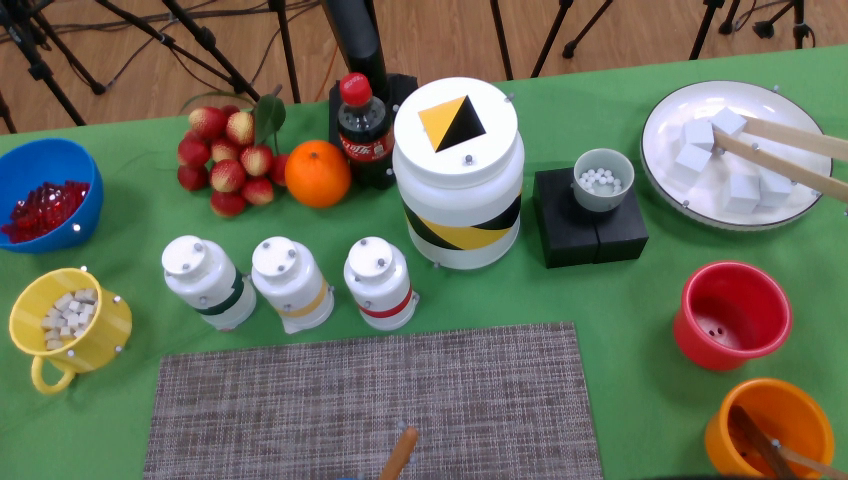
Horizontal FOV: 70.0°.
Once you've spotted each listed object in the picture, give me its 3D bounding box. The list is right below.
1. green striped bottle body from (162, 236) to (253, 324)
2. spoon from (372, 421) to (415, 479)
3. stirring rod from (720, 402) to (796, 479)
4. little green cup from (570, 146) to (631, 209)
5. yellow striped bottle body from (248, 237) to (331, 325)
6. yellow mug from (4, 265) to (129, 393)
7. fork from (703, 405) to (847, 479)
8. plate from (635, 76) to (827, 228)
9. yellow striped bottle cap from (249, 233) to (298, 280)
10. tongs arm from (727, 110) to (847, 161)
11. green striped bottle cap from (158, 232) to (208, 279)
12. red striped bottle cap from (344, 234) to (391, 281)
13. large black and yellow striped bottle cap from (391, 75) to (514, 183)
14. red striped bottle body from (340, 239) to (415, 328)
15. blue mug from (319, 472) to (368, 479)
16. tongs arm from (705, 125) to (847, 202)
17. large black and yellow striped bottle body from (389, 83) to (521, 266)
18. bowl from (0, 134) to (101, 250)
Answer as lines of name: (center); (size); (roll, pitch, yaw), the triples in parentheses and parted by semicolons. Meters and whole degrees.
green striped bottle body: (-0.230, 0.040, 0.640); (0.063, 0.120, 0.062); (-2, 62, 4)
spoon: (-0.043, 0.211, 0.486); (0.041, 0.195, 0.022); (39, 37, 23)
stirring rod: (0.292, 0.186, 0.505); (0.014, 0.006, 0.175); (-2, 18, 2)
little green cup: (0.185, -0.065, 0.645); (0.061, 0.039, 0.061); (-1, 60, 2)
yellow striped bottle body: (-0.141, 0.040, 0.631); (0.063, 0.121, 0.062); (-3, 61, 5)
yellow mug: (-0.389, 0.099, 0.653); (0.100, 0.064, 0.130); (4, 63, 6)
fork: (0.320, 0.184, 0.495); (0.028, 0.019, 0.206); (-30, 19, -19)
plate: (0.351, -0.102, 0.708); (0.209, 0.038, 0.207); (-2, 63, 4)
yellow striped bottle cap: (-0.145, 0.016, 0.585); (0.044, 0.019, 0.044); (-2, 63, 4)
tongs arm: (0.436, -0.065, 0.567); (0.028, 0.028, 0.383); (-30, 34, -8)
green striped bottle cap: (-0.236, 0.015, 0.594); (0.044, 0.020, 0.044); (-1, 63, 2)
red striped bottle cap: (-0.054, 0.016, 0.576); (0.044, 0.018, 0.044); (0, 60, 1)
large black and yellow striped bottle cap: (0.026, -0.105, 0.561); (0.115, 0.019, 0.114); (-3, 61, 5)
red striped bottle body: (-0.048, 0.042, 0.622); (0.063, 0.121, 0.062); (-3, 61, 7)
blue mug: (-0.073, 0.260, 0.513); (0.081, 0.107, 0.116); (40, 72, 23)
tongs arm: (0.417, -0.052, 0.564); (0.051, 0.027, 0.380); (-31, 34, -3)
large black and yellow striped bottle body: (0.034, -0.067, 0.635); (0.131, 0.185, 0.129); (-2, 62, 5)
bowl: (-0.452, -0.044, 0.728); (0.151, 0.077, 0.150); (-2, 62, 4)
